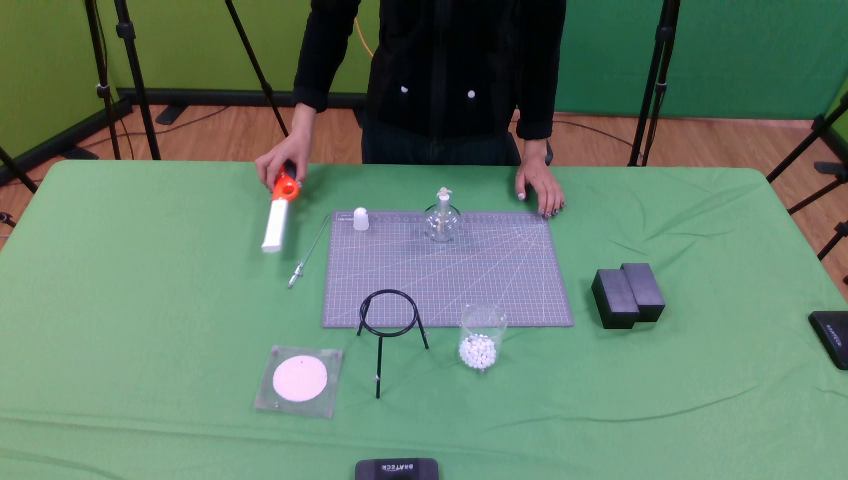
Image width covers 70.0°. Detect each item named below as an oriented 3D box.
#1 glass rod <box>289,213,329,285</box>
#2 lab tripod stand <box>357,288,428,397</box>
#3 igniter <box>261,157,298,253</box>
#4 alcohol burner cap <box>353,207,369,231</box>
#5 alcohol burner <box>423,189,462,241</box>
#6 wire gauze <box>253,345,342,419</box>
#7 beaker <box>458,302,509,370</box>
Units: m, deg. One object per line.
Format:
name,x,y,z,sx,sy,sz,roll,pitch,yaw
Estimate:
glass rod,-0.221,0.014,1.179,0.008,0.008,0.199,12,47,9
lab tripod stand,-0.058,0.155,0.967,0.148,0.132,0.147,3,47,-3
igniter,-0.287,-0.079,1.208,0.057,0.025,0.274,-2,45,0
alcohol burner cap,-0.127,-0.046,1.215,0.034,0.048,0.033,3,47,-3
alcohol burner,0.036,-0.055,1.186,0.078,0.120,0.077,1,48,-1
wire gauze,-0.200,0.224,0.979,0.125,0.011,0.121,7,47,0
beaker,0.092,0.159,0.999,0.083,0.101,0.074,35,53,28
